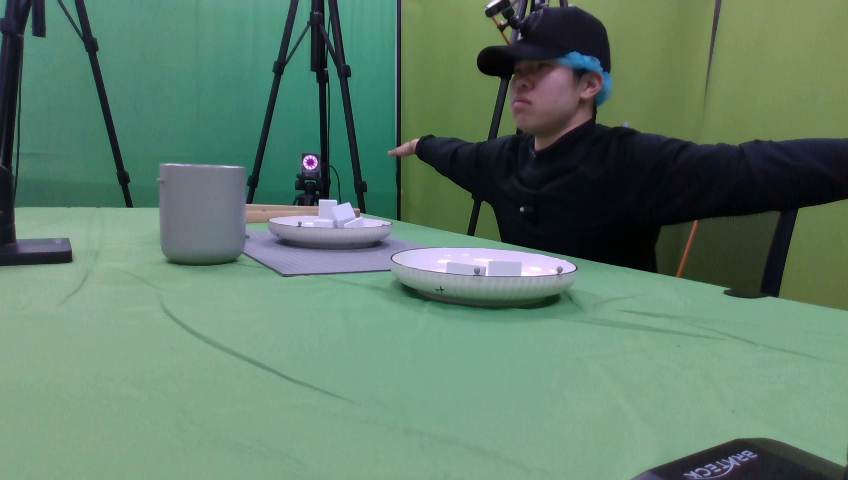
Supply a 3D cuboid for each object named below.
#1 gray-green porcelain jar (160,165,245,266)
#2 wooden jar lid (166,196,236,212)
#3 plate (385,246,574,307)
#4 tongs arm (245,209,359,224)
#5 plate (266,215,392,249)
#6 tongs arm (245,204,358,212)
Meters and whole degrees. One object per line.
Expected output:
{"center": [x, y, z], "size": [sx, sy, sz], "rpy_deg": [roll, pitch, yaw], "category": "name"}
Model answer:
{"center": [-0.291, -0.034, 0.799], "size": [0.106, 0.126, 0.106], "rpy_deg": [2, 8, 0], "category": "gray-green porcelain jar"}
{"center": [-0.369, -0.059, 1.001], "size": [0.108, 0.020, 0.108], "rpy_deg": [3, 6, 0], "category": "wooden jar lid"}
{"center": [0.060, 0.041, 0.678], "size": [0.208, 0.039, 0.207], "rpy_deg": [3, 7, 0], "category": "plate"}
{"center": [-0.300, -0.052, 1.341], "size": [0.390, 0.028, 0.028], "rpy_deg": [-4, 8, -40], "category": "tongs arm"}
{"center": [-0.159, -0.015, 1.019], "size": [0.209, 0.038, 0.209], "rpy_deg": [3, 7, 0], "category": "plate"}
{"center": [-0.342, -0.068, 1.409], "size": [0.387, 0.026, 0.050], "rpy_deg": [0, 9, -27], "category": "tongs arm"}
